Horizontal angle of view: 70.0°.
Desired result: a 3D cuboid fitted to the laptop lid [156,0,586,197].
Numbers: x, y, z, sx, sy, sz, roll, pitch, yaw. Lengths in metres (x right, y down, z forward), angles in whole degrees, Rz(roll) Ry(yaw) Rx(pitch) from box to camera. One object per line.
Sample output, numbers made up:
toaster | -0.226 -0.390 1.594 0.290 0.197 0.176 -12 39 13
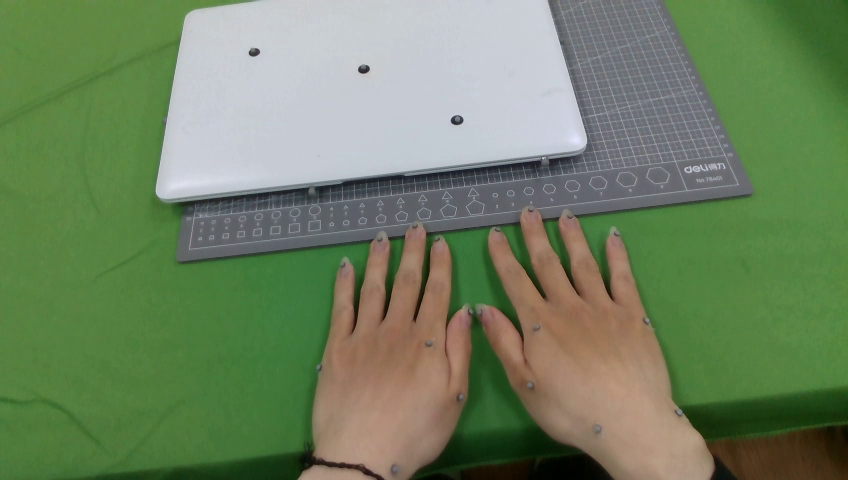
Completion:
laptop lid | -0.053 -0.154 0.540 0.357 0.013 0.239 -5 60 1

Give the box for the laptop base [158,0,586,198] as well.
laptop base | -0.052 -0.150 0.551 0.354 0.023 0.233 -7 62 0
